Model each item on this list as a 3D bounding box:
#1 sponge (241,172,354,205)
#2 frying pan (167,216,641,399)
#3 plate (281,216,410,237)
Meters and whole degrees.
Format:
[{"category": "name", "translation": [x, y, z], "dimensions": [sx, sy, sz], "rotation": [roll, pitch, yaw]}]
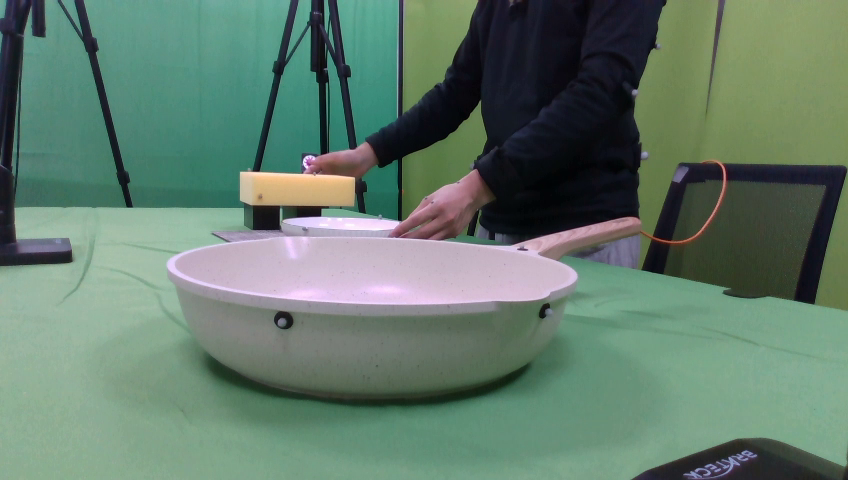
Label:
[{"category": "sponge", "translation": [-0.257, -0.105, 1.226], "dimensions": [0.208, 0.061, 0.117], "rotation": [-2, 8, -28]}, {"category": "frying pan", "translation": [0.046, 0.024, 0.520], "dimensions": [0.490, 0.102, 0.305], "rotation": [-14, 16, -37]}, {"category": "plate", "translation": [-0.126, -0.012, 0.986], "dimensions": [0.208, 0.039, 0.207], "rotation": [2, 7, 0]}]
